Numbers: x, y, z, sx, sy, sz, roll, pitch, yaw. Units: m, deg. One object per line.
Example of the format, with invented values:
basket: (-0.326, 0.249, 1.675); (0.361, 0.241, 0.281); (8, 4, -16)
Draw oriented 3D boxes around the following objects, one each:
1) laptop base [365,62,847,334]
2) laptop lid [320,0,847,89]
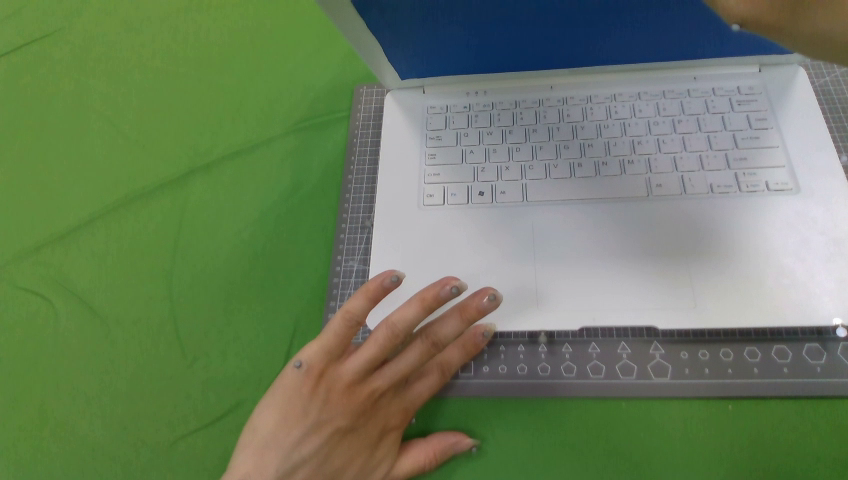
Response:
laptop base: (0.136, -0.038, 0.471); (0.354, 0.023, 0.233); (-2, 63, 7)
laptop lid: (0.125, -0.144, 0.409); (0.356, 0.242, 0.013); (-2, 89, 9)
